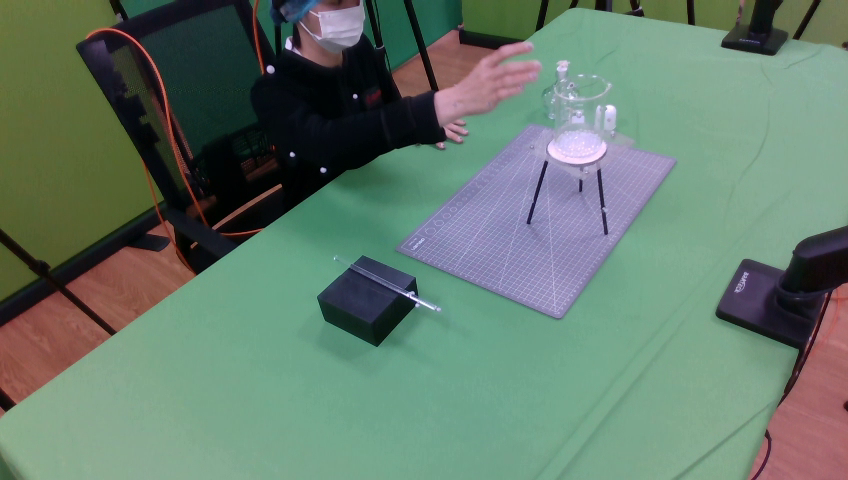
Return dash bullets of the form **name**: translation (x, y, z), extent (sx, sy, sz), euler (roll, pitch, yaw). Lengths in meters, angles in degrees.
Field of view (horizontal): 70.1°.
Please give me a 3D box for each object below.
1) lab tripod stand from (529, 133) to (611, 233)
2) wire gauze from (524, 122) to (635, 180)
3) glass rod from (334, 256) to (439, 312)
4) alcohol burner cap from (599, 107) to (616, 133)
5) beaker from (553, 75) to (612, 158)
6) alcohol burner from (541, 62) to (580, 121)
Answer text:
- **lab tripod stand**: translation (0.236, -0.089, 0.953), extent (0.148, 0.132, 0.147), euler (-5, 42, 5)
- **wire gauze**: translation (0.233, -0.142, 0.913), extent (0.122, 0.011, 0.124), euler (-31, 43, -26)
- **glass rod**: translation (-0.058, 0.060, 0.850), extent (0.198, 0.008, 0.008), euler (24, 49, 33)
- **alcohol burner cap**: translation (0.361, -0.239, 1.189), extent (0.034, 0.048, 0.033), euler (-4, 40, 4)
- **beaker**: translation (0.230, -0.178, 0.882), extent (0.084, 0.101, 0.073), euler (-9, 41, 1)
- **alcohol burner**: translation (0.277, -0.302, 1.222), extent (0.078, 0.119, 0.077), euler (-4, 38, 4)
